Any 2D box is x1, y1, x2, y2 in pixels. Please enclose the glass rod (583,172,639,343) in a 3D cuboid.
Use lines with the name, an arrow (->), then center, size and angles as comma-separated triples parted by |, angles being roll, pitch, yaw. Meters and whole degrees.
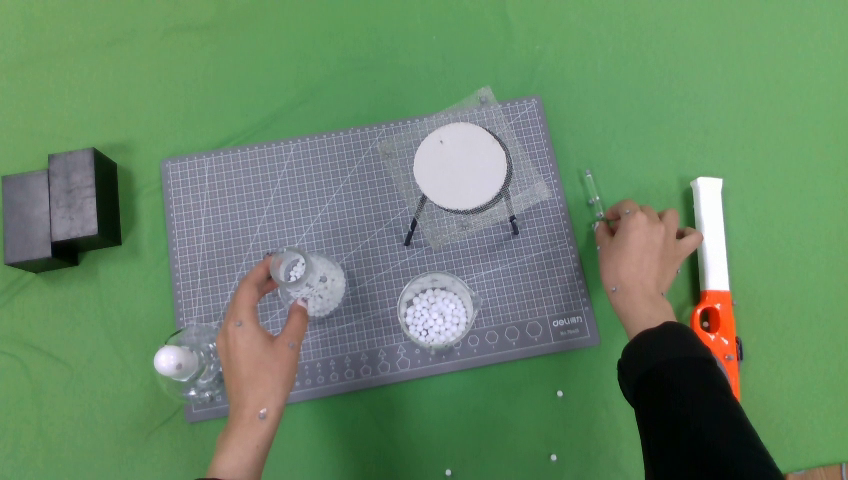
glass rod -> 0.207, 0.018, 0.674 | 0.008, 0.008, 0.199 | -14, 81, -3

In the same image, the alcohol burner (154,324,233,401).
alcohol burner -> -0.234, 0.121, 0.599 | 0.078, 0.119, 0.077 | 0, 78, -1

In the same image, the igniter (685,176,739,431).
igniter -> 0.309, 0.064, 0.656 | 0.057, 0.025, 0.275 | 4, 78, -9

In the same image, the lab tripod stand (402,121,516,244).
lab tripod stand -> 0.034, -0.051, 0.626 | 0.148, 0.132, 0.147 | 0, 79, 1

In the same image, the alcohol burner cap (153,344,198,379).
alcohol burner cap -> -0.233, 0.111, 0.564 | 0.034, 0.048, 0.033 | 1, 74, -4

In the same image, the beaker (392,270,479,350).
beaker -> 0.012, 0.074, 0.616 | 0.084, 0.100, 0.073 | -12, 77, -3

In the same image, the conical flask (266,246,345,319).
conical flask -> -0.125, 0.038, 0.613 | 0.075, 0.122, 0.075 | 0, 77, 1

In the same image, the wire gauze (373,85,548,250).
wire gauze -> 0.033, -0.068, 0.561 | 0.125, 0.011, 0.121 | -27, 80, -4
